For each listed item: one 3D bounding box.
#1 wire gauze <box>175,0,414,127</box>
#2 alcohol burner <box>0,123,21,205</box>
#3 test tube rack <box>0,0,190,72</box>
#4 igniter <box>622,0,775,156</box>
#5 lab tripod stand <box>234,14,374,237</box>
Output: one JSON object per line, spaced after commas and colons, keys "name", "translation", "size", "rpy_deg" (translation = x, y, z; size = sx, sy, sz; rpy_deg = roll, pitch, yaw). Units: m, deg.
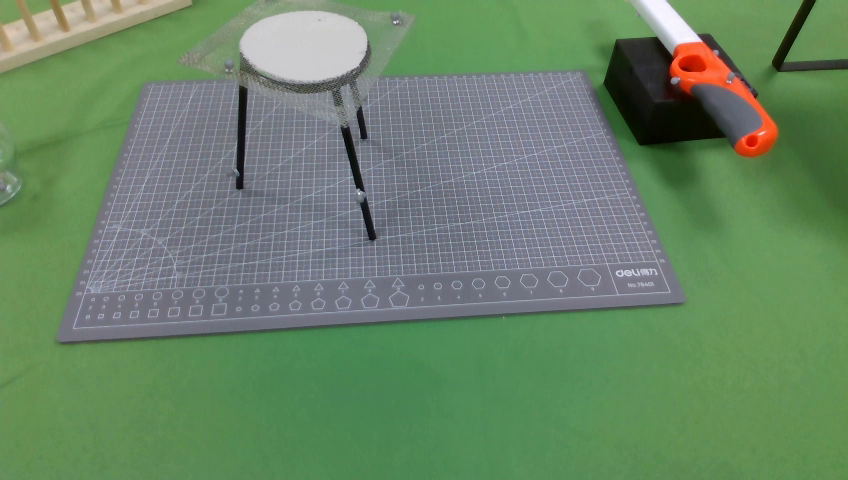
{"name": "wire gauze", "translation": [-0.084, -0.133, 0.416], "size": [0.124, 0.011, 0.121], "rpy_deg": [19, 52, 11]}
{"name": "alcohol burner", "translation": [-0.365, -0.078, 0.462], "size": [0.078, 0.120, 0.077], "rpy_deg": [0, 52, 0]}
{"name": "test tube rack", "translation": [-0.381, -0.258, 0.631], "size": [0.242, 0.086, 0.066], "rpy_deg": [-34, 59, -27]}
{"name": "igniter", "translation": [0.244, -0.170, 0.561], "size": [0.057, 0.025, 0.273], "rpy_deg": [-7, 48, -4]}
{"name": "lab tripod stand", "translation": [-0.082, -0.089, 0.467], "size": [0.148, 0.132, 0.147], "rpy_deg": [3, 50, -3]}
